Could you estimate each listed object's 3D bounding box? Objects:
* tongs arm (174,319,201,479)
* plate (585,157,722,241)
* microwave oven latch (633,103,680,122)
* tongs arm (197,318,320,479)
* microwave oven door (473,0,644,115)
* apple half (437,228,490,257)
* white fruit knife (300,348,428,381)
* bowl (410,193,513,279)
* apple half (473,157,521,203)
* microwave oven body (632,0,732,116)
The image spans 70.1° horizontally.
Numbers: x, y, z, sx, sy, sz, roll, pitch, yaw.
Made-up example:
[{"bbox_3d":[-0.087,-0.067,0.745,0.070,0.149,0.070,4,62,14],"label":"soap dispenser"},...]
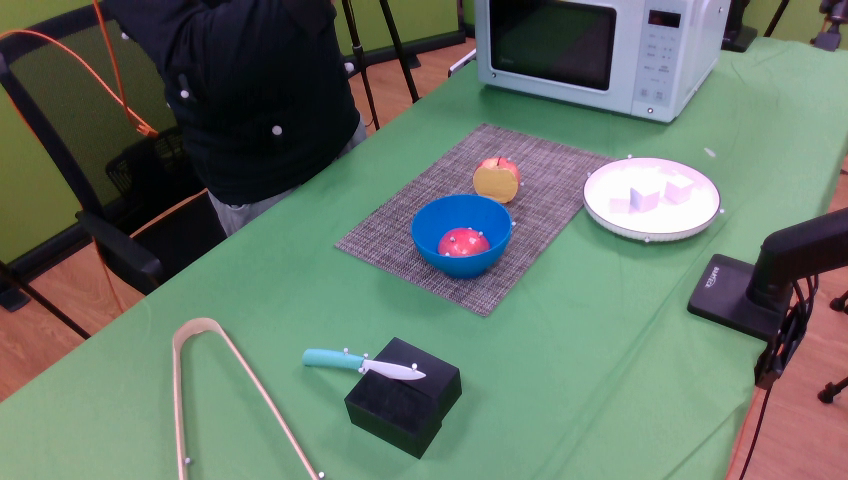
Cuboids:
[{"bbox_3d":[-0.272,0.234,0.723,0.051,0.026,0.381,-19,40,-15],"label":"tongs arm"},{"bbox_3d":[0.367,-0.063,0.979,0.207,0.039,0.206,-4,40,4],"label":"plate"},{"bbox_3d":[0.443,-0.249,1.157,0.078,0.029,0.030,20,48,29],"label":"microwave oven latch"},{"bbox_3d":[-0.200,0.207,0.751,0.028,0.028,0.384,-31,45,-22],"label":"tongs arm"},{"bbox_3d":[0.257,-0.396,1.199,0.353,0.245,0.039,21,48,29],"label":"microwave oven door"},{"bbox_3d":[0.056,0.002,0.901,0.081,0.033,0.081,-3,41,3],"label":"apple half"},{"bbox_3d":[-0.080,0.154,0.748,0.206,0.027,0.016,0,20,34],"label":"white fruit knife"},{"bbox_3d":[0.058,0.005,0.905,0.151,0.077,0.150,-4,40,4],"label":"bowl"},{"bbox_3d":[0.128,-0.107,1.030,0.080,0.075,0.053,4,38,19],"label":"apple half"},{"bbox_3d":[0.377,-0.462,1.267,0.438,0.261,0.327,21,48,30],"label":"microwave oven body"}]
